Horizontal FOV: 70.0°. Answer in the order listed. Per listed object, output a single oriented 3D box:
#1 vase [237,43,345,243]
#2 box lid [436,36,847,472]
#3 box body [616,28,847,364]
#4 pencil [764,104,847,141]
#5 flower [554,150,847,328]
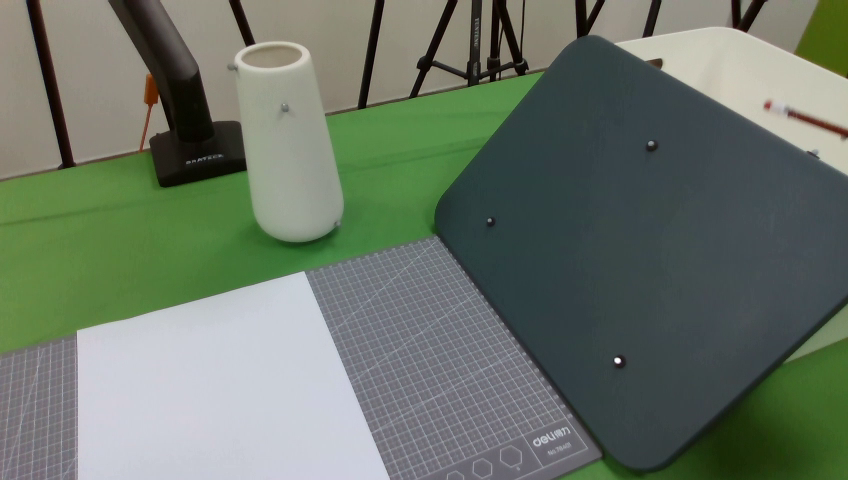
[{"bbox_3d":[-0.138,-0.095,0.627,0.098,0.202,0.097,-1,39,1],"label":"vase"},{"bbox_3d":[0.165,-0.017,0.537,0.015,0.263,0.367,27,19,-42],"label":"box lid"},{"bbox_3d":[0.325,-0.067,0.624,0.255,0.162,0.359,-16,42,-18],"label":"box body"},{"bbox_3d":[0.367,-0.083,0.508,0.012,0.012,0.192,-15,33,-18],"label":"pencil"},{"bbox_3d":[0.292,-0.005,0.659,0.358,0.038,0.044,37,16,29],"label":"flower"}]
